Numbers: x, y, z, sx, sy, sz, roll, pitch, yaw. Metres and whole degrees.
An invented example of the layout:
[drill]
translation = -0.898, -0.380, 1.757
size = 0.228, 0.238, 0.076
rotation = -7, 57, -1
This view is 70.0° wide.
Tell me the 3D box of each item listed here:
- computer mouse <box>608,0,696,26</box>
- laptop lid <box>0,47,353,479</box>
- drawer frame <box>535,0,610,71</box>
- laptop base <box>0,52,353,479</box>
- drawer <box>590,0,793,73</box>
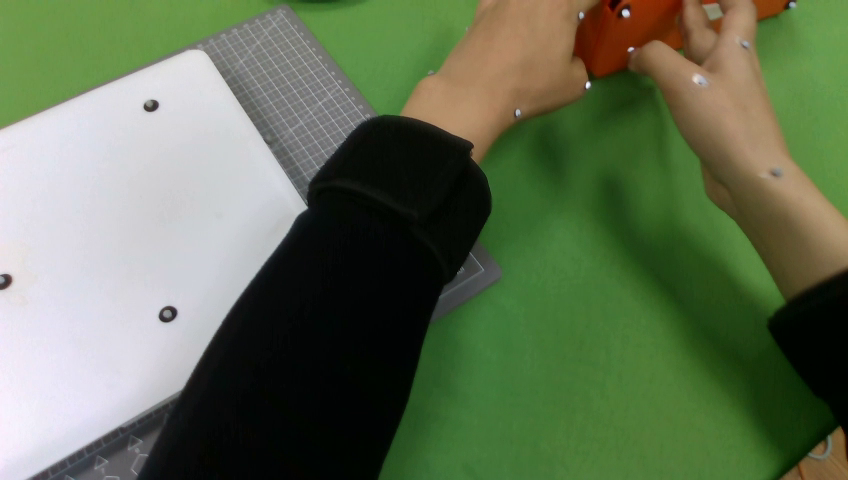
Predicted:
[computer mouse]
translation = 0.169, -0.226, 0.491
size = 0.063, 0.041, 0.116
rotation = -20, 63, -13
[laptop lid]
translation = -0.249, 0.025, 0.365
size = 0.357, 0.013, 0.239
rotation = -28, 68, -14
[drawer frame]
translation = 0.170, -0.261, 0.493
size = 0.202, 0.083, 0.211
rotation = -24, 64, -11
[laptop base]
translation = -0.250, 0.028, 0.376
size = 0.354, 0.023, 0.233
rotation = -30, 70, -15
[drawer]
translation = 0.174, -0.255, 0.491
size = 0.195, 0.074, 0.209
rotation = -22, 63, -10
